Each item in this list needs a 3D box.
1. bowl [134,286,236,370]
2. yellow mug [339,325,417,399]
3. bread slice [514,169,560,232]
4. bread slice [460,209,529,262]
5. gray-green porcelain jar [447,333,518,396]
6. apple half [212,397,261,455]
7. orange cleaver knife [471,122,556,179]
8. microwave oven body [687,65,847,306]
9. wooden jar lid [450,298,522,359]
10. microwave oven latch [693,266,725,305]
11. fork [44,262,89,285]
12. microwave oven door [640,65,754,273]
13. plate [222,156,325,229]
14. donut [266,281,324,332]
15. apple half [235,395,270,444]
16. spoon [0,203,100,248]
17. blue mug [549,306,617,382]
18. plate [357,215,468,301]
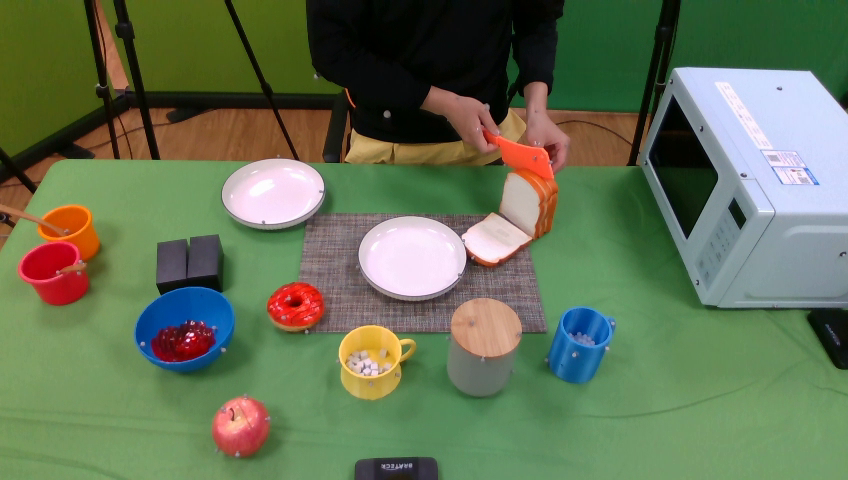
[{"bbox_3d":[-0.377,0.155,0.981,0.151,0.077,0.150,2,46,-2],"label":"bowl"},{"bbox_3d":[-0.072,0.190,0.978,0.131,0.064,0.099,-17,50,-20],"label":"yellow mug"},{"bbox_3d":[0.229,-0.088,1.221,0.018,0.135,0.106,-32,56,-28],"label":"bread slice"},{"bbox_3d":[0.130,-0.007,1.199,0.104,0.019,0.131,26,48,28],"label":"bread slice"},{"bbox_3d":[0.091,0.178,0.960,0.106,0.127,0.105,2,46,-2],"label":"gray-green porcelain jar"},{"bbox_3d":[-0.276,0.276,0.877,0.053,0.075,0.080,-29,58,-21],"label":"apple half"},{"bbox_3d":[0.174,-0.178,1.194,0.012,0.077,0.210,-39,48,-23],"label":"orange cleaver knife"},{"bbox_3d":[0.669,-0.111,1.176,0.326,0.261,0.439,0,46,-3],"label":"microwave oven body"},{"bbox_3d":[0.093,0.135,0.914,0.108,0.021,0.107,2,48,-3],"label":"wooden jar lid"},{"bbox_3d":[0.523,0.082,1.115,0.030,0.029,0.078,3,46,0],"label":"microwave oven latch"},{"bbox_3d":[-0.598,0.054,1.014,0.207,0.019,0.028,-15,28,45],"label":"fork"},{"bbox_3d":[0.523,-0.147,1.193,0.039,0.245,0.353,0,47,-3],"label":"microwave oven door"},{"bbox_3d":[-0.308,-0.095,1.251,0.209,0.038,0.208,2,46,-2],"label":"plate"},{"bbox_3d":[-0.222,0.114,1.049,0.099,0.048,0.098,2,46,-2],"label":"donut"},{"bbox_3d":[-0.245,0.259,0.893,0.033,0.082,0.081,-29,55,-22],"label":"apple half"},{"bbox_3d":[-0.683,-0.031,1.088,0.195,0.021,0.041,33,33,-38],"label":"spoon"},{"bbox_3d":[0.269,0.166,0.998,0.116,0.106,0.082,-19,51,-21],"label":"blue mug"},{"bbox_3d":[-0.022,0.037,1.141,0.208,0.039,0.206,2,46,-2],"label":"plate"}]
